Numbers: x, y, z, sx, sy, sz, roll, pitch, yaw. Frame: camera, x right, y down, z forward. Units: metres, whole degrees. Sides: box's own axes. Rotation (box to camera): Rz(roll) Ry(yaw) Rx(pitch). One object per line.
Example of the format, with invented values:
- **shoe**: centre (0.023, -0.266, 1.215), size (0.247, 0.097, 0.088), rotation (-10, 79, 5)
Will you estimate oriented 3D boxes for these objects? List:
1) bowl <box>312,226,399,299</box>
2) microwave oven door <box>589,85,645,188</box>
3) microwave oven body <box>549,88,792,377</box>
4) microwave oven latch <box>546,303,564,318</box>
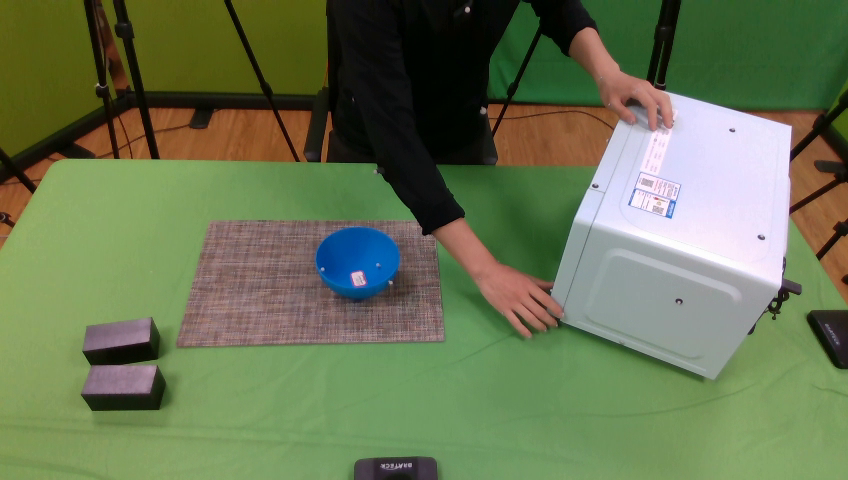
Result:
- **bowl**: centre (-0.120, 0.054, 1.091), size (0.151, 0.077, 0.150), rotation (2, 46, -2)
- **microwave oven door**: centre (0.342, -0.107, 1.149), size (0.039, 0.245, 0.354), rotation (20, 48, 15)
- **microwave oven body**: centre (0.456, -0.028, 1.088), size (0.325, 0.261, 0.440), rotation (20, 47, 16)
- **microwave oven latch**: centre (0.242, 0.102, 1.081), size (0.030, 0.029, 0.079), rotation (22, 48, 17)
